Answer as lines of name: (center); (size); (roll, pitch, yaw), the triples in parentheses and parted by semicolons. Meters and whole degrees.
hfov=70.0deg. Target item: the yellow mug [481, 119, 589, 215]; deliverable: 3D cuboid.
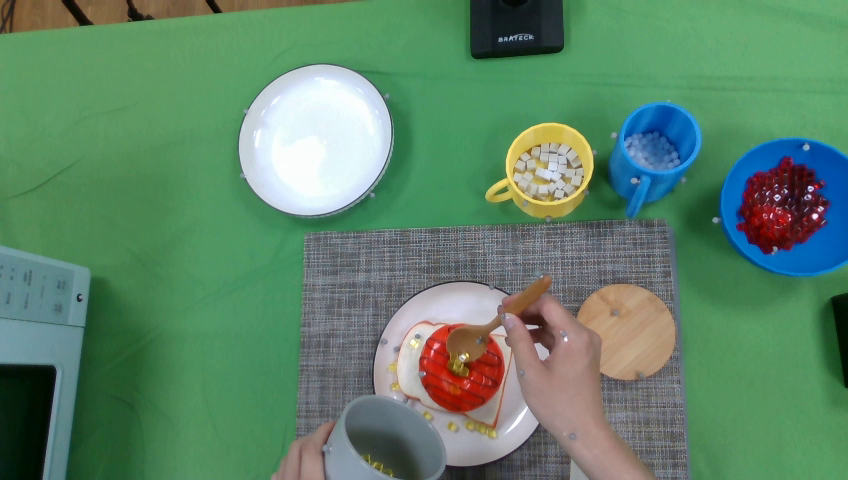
yellow mug: (0.129, -0.079, 0.722); (0.131, 0.064, 0.099); (-23, 75, 5)

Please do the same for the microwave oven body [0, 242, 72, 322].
microwave oven body: (-0.625, 0.219, 0.679); (0.325, 0.261, 0.440); (-1, 79, 9)

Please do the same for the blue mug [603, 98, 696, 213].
blue mug: (0.246, -0.086, 0.685); (0.082, 0.106, 0.116); (19, 82, 13)

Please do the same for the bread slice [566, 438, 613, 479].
bread slice: (0.164, 0.262, 0.614); (0.018, 0.135, 0.106); (6, 77, 2)

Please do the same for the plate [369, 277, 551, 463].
plate: (0.041, 0.147, 0.702); (0.209, 0.038, 0.208); (-2, 78, 9)

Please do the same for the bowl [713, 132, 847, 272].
bowl: (0.389, -0.034, 0.665); (0.151, 0.077, 0.150); (-2, 79, 9)

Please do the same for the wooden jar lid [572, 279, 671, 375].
wooden jar lid: (0.224, 0.099, 0.691); (0.108, 0.021, 0.108); (-2, 79, 9)

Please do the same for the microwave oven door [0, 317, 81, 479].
microwave oven door: (-0.483, 0.258, 0.643); (0.039, 0.245, 0.354); (-1, 78, 9)

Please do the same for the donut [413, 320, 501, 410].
donut: (0.037, 0.138, 0.675); (0.099, 0.048, 0.098); (-1, 80, 5)

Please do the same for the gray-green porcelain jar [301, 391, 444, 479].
gray-green porcelain jar: (-0.056, 0.225, 0.569); (0.105, 0.106, 0.127); (34, 112, 14)

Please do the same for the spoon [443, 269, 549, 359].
spoon: (0.066, 0.075, 0.575); (0.041, 0.194, 0.021); (40, 57, 1)

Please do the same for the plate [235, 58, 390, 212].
plate: (-0.143, -0.134, 0.791); (0.207, 0.039, 0.206); (-2, 79, 9)

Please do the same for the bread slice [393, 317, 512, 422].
bread slice: (0.029, 0.146, 0.707); (0.131, 0.019, 0.104); (12, 80, 8)

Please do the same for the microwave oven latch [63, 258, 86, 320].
microwave oven latch: (-0.460, 0.063, 0.783); (0.030, 0.029, 0.079); (2, 80, 9)
